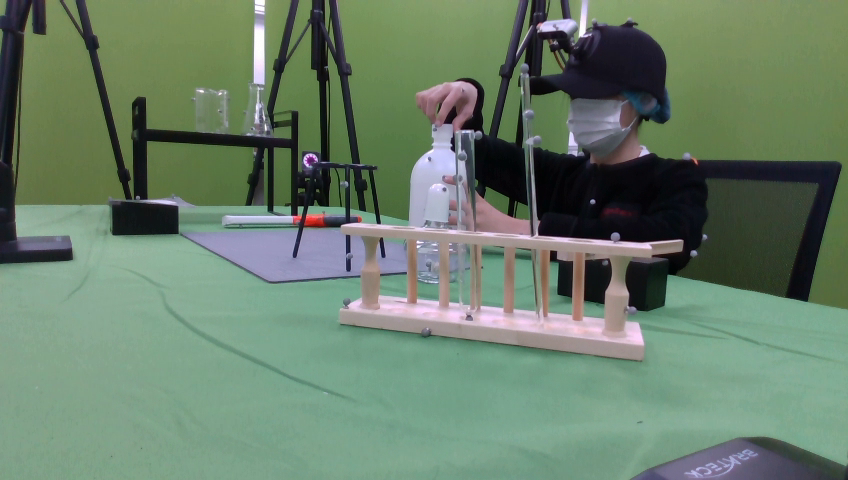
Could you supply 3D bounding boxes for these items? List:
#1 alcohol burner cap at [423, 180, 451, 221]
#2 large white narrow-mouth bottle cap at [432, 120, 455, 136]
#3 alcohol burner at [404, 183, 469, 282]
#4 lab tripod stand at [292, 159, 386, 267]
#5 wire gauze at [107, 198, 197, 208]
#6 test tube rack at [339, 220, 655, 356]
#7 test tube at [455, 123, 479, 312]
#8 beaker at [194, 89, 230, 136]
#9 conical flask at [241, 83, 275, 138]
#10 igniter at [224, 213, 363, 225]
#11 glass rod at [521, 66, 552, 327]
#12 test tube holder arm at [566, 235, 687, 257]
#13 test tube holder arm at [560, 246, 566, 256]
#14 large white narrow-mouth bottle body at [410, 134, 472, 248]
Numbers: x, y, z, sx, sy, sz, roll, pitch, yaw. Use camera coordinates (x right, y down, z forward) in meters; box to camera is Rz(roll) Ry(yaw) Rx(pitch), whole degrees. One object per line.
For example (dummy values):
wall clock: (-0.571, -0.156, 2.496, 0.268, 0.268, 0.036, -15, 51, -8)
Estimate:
alcohol burner cap: (0.017, -0.047, 0.711, 0.034, 0.048, 0.034, 8, 5, 0)
large white narrow-mouth bottle cap: (0.032, -0.183, 0.990, 0.038, 0.024, 0.037, 2, 8, 0)
alcohol burner: (0.015, -0.011, 0.715, 0.078, 0.119, 0.078, 0, 7, 0)
lab tripod stand: (-0.105, -0.039, 0.798, 0.148, 0.131, 0.148, 2, 5, 0)
wire gauze: (-0.462, -0.064, 1.023, 0.126, 0.011, 0.121, -2, 7, -32)
test tube rack: (0.056, 0.032, 0.495, 0.242, 0.085, 0.067, 4, 7, 15)
test tube: (0.034, -0.016, 0.476, 0.017, 0.150, 0.017, -2, 10, 1)
beaker: (-0.472, -0.283, 1.352, 0.074, 0.100, 0.083, -4, 10, -35)
conical flask: (-0.383, -0.297, 1.392, 0.075, 0.122, 0.075, 2, 7, 0)
igniter: (-0.255, -0.041, 1.210, 0.278, 0.025, 0.057, -2, -2, -31)
glass rod: (0.085, -0.028, 0.454, 0.008, 0.199, 0.008, -7, 10, 2)
test tube holder arm: (0.215, 0.006, 0.630, 0.179, 0.015, 0.013, -3, 9, -30)
test tube holder arm: (0.173, 0.007, 0.611, 0.088, 0.015, 0.010, -3, 9, -30)
large white narrow-mouth bottle body: (0.029, -0.088, 1.005, 0.102, 0.194, 0.102, 2, 8, 0)
